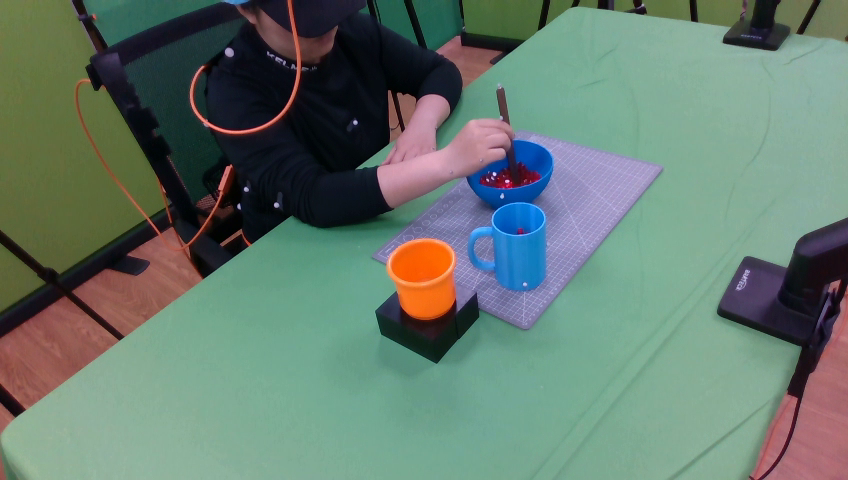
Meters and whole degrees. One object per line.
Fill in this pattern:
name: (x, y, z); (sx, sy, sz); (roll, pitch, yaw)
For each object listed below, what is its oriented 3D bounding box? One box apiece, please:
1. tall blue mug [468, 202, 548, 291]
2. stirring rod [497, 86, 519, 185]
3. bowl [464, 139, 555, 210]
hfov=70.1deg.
tall blue mug: (0.125, 0.015, 0.869); (0.107, 0.108, 0.077); (-21, 42, -14)
stirring rod: (0.139, -0.168, 0.992); (0.014, 0.177, 0.005); (-28, 35, -19)
bowl: (0.145, -0.100, 1.025); (0.151, 0.077, 0.150); (-5, 40, 5)
